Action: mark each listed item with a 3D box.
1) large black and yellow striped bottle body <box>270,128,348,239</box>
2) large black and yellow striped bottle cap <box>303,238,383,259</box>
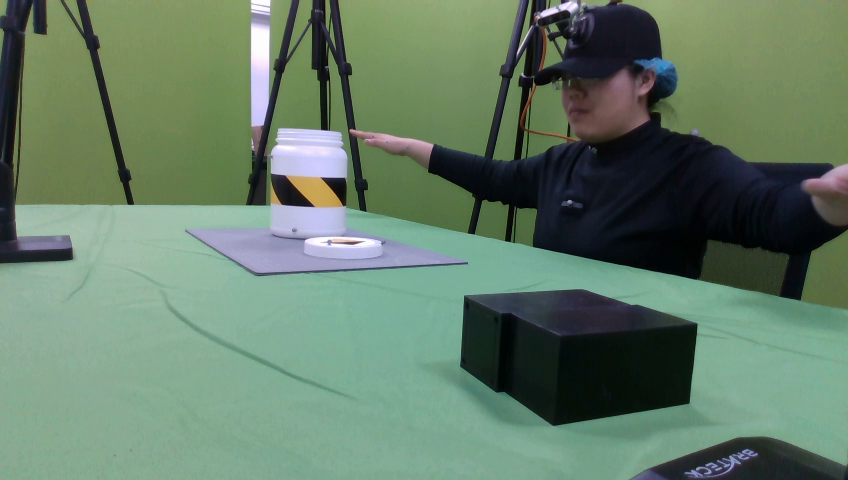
[{"bbox_3d":[-0.200,-0.099,1.053,0.131,0.184,0.130,3,8,0],"label":"large black and yellow striped bottle body"},{"bbox_3d":[-0.117,0.011,0.880,0.115,0.019,0.115,2,6,0],"label":"large black and yellow striped bottle cap"}]
